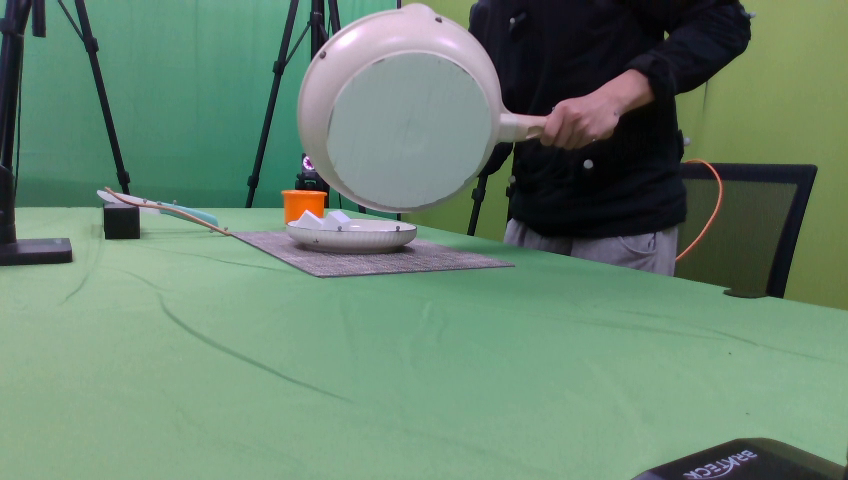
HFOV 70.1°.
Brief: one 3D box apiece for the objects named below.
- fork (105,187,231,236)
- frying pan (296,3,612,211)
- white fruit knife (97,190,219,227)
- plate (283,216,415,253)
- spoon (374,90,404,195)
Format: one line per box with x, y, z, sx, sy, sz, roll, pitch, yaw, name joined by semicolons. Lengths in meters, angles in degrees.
-0.428;-0.046;1.020;0.208;0.018;0.028;19;-11;-26;fork
0.069;-0.168;0.873;0.490;0.306;0.102;-5;36;-22;frying pan
-0.468;-0.057;1.079;0.208;0.027;0.016;16;-1;-29;white fruit knife
-0.119;-0.010;0.968;0.208;0.039;0.207;3;7;0;plate
-0.051;-0.156;0.935;0.042;0.193;0.021;24;-34;-32;spoon
